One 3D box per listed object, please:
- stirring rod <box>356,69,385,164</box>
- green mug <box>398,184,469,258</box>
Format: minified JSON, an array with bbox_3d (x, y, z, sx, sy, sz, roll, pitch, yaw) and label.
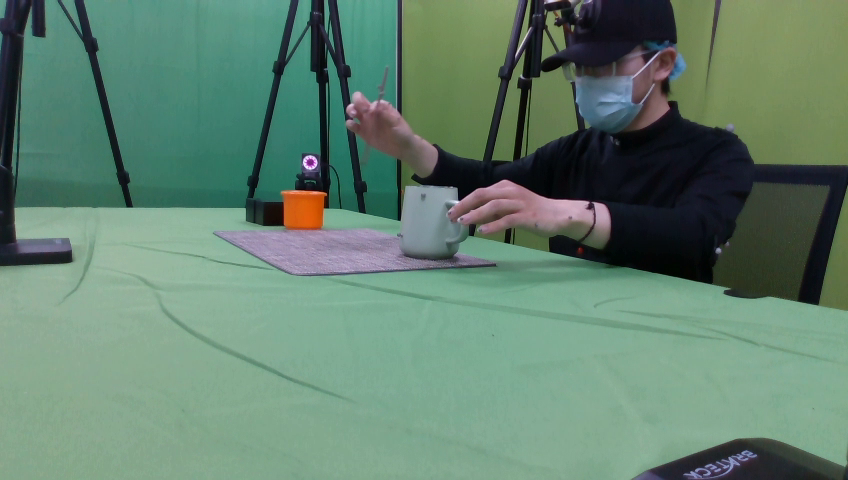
[{"bbox_3d":[-0.094,-0.218,1.063,0.006,0.176,0.014,16,-7,-1],"label":"stirring rod"},{"bbox_3d":[0.020,-0.028,0.890,0.093,0.105,0.124,-4,9,-41],"label":"green mug"}]
